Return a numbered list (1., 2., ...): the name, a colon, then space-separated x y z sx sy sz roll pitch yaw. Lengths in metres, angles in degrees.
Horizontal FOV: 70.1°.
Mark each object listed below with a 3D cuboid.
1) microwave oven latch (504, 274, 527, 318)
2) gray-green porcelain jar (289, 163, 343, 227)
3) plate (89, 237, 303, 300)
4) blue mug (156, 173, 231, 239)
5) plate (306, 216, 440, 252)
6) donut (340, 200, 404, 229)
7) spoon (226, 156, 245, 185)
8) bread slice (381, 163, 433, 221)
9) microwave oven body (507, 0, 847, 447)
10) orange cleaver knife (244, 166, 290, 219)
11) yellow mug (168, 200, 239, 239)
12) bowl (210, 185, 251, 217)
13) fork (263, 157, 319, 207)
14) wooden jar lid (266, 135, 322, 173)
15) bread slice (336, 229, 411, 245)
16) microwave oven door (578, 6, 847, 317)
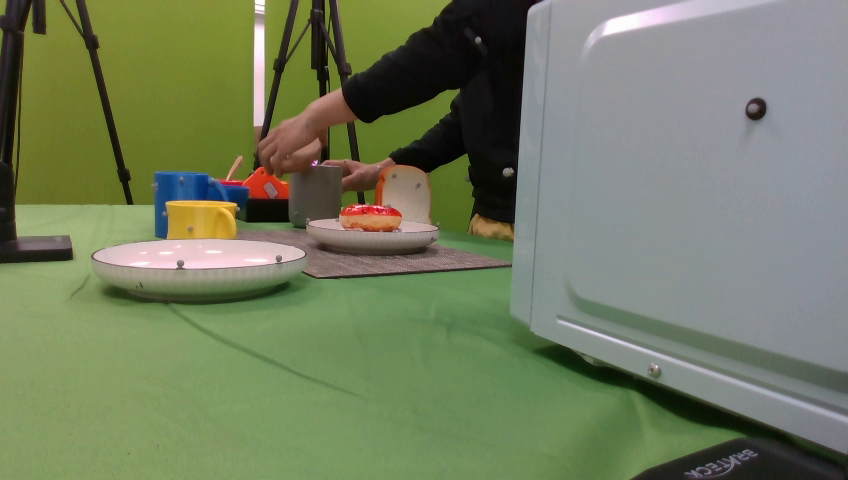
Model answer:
1. microwave oven latch: 0.100 0.041 0.471 0.079 0.029 0.030 -1 8 -28
2. gray-green porcelain jar: -0.218 -0.091 1.220 0.106 0.126 0.106 2 8 0
3. plate: -0.233 0.029 0.637 0.208 0.039 0.207 2 7 0
4. blue mug: -0.381 -0.057 1.004 0.117 0.106 0.082 1 8 -12
5. plate: -0.079 -0.011 0.950 0.209 0.038 0.209 2 8 0
6. donut: -0.081 -0.038 0.945 0.099 0.048 0.099 1 5 0
7. spoon: -0.477 -0.145 1.492 0.041 0.022 0.193 0 51 13
8. bread slice: -0.035 -0.076 1.124 0.107 0.134 0.018 -4 1 -26
9. microwave oven body: 0.331 -0.042 0.425 0.444 0.260 0.324 -2 8 -31
10. orange cleaver knife: -0.301 -0.089 1.351 0.212 0.077 0.012 32 -11 -34
11. yellow mug: -0.320 -0.023 0.904 0.130 0.064 0.100 9 10 36
12. bowl: -0.408 -0.064 1.154 0.151 0.077 0.151 2 8 0
13. fork: -0.331 -0.144 1.506 0.207 0.018 0.028 -42 -20 22
14. wooden jar lid: -0.240 -0.159 1.124 0.108 0.021 0.108 -10 39 9
15. bread slice: -0.074 -0.006 0.938 0.105 0.019 0.131 -1 5 -19
16. microwave oven door: 0.294 -0.067 0.570 0.358 0.243 0.039 -3 9 -31
